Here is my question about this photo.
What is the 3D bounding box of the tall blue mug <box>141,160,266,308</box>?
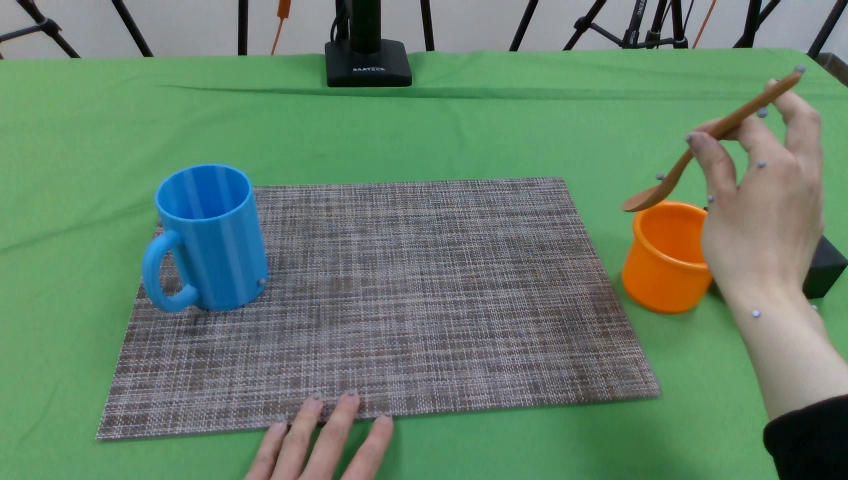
[{"bbox_3d":[-0.186,0.006,0.525,0.078,0.109,0.106,4,44,-2],"label":"tall blue mug"}]

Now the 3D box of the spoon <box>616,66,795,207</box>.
[{"bbox_3d":[0.202,-0.070,0.458,0.041,0.194,0.021,-33,76,-23],"label":"spoon"}]
